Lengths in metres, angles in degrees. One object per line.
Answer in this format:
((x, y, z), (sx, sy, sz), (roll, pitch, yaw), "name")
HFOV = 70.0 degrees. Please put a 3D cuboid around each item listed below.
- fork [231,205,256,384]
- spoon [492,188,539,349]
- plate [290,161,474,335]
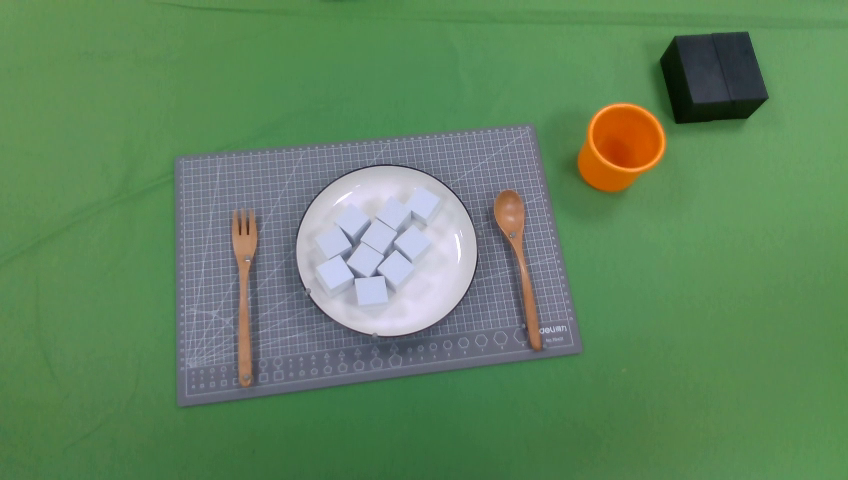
((-0.204, 0.057, 0.684), (0.028, 0.019, 0.206), (-2, 70, -11), "fork")
((0.111, 0.031, 0.709), (0.042, 0.022, 0.192), (-2, 71, -22), "spoon")
((-0.047, 0.009, 0.700), (0.208, 0.039, 0.206), (1, 72, -3), "plate")
